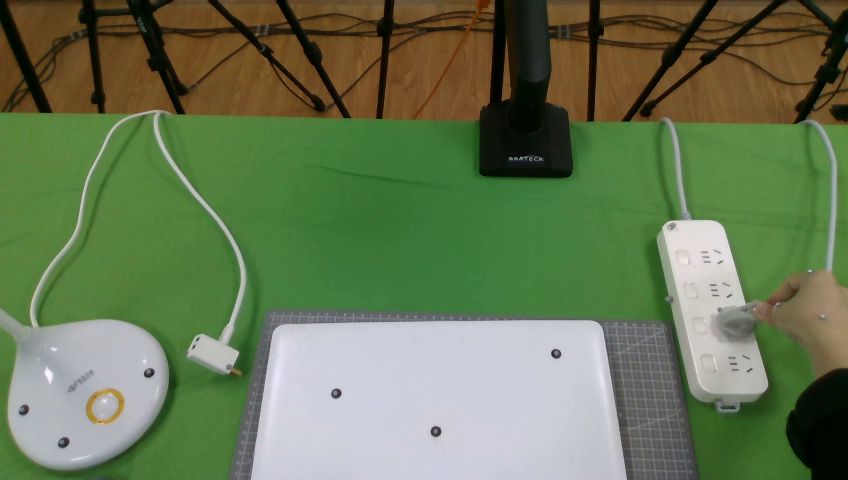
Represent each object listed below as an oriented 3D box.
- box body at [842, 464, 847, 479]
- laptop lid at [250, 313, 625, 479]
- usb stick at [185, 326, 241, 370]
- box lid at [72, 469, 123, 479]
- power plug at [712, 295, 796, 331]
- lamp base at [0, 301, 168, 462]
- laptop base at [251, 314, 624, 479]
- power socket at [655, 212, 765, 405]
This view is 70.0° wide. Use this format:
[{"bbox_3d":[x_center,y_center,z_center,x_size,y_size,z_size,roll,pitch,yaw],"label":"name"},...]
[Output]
[{"bbox_3d":[0.478,0.248,0.463,0.252,0.162,0.363,31,64,19],"label":"box body"},{"bbox_3d":[0.011,0.181,0.591,0.357,0.013,0.239,0,60,2],"label":"laptop lid"},{"bbox_3d":[-0.217,0.116,0.636,0.021,0.060,0.027,-20,39,43],"label":"usb stick"},{"bbox_3d":[-0.281,0.397,0.483,0.263,0.015,0.368,-41,66,-21],"label":"box lid"},{"bbox_3d":[0.336,0.080,0.624,0.072,0.053,0.035,12,58,6],"label":"power plug"},{"bbox_3d":[-0.362,0.102,0.570,0.178,0.182,0.160,25,61,20],"label":"lamp base"},{"bbox_3d":[0.012,0.185,0.602,0.354,0.023,0.233,-1,61,1],"label":"laptop base"},{"bbox_3d":[0.306,0.064,0.660,0.072,0.033,0.224,1,58,1],"label":"power socket"}]
